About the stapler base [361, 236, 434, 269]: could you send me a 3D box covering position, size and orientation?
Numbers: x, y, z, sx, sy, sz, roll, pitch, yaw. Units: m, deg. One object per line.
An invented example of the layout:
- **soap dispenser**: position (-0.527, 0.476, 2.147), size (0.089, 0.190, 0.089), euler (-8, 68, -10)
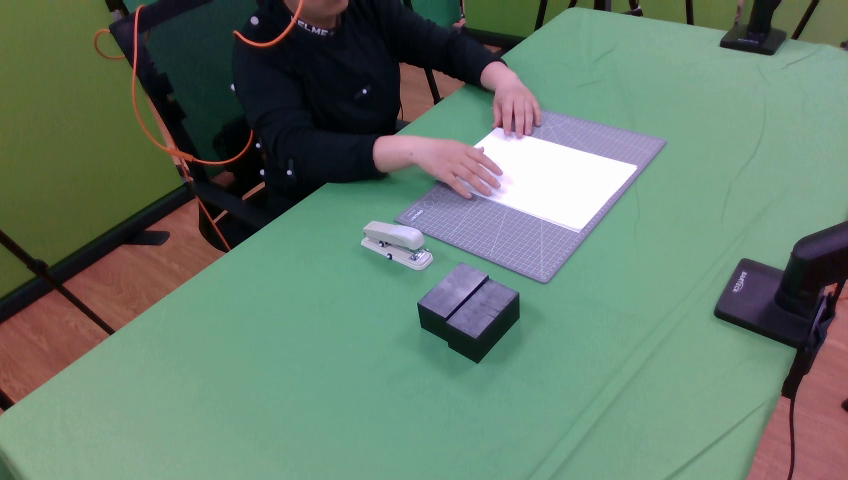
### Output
- **stapler base**: position (-0.044, 0.009, 0.974), size (0.129, 0.024, 0.041), euler (21, 46, 32)

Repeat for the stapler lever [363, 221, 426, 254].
- **stapler lever**: position (-0.048, -0.011, 0.958), size (0.117, 0.040, 0.027), euler (21, 46, 32)
